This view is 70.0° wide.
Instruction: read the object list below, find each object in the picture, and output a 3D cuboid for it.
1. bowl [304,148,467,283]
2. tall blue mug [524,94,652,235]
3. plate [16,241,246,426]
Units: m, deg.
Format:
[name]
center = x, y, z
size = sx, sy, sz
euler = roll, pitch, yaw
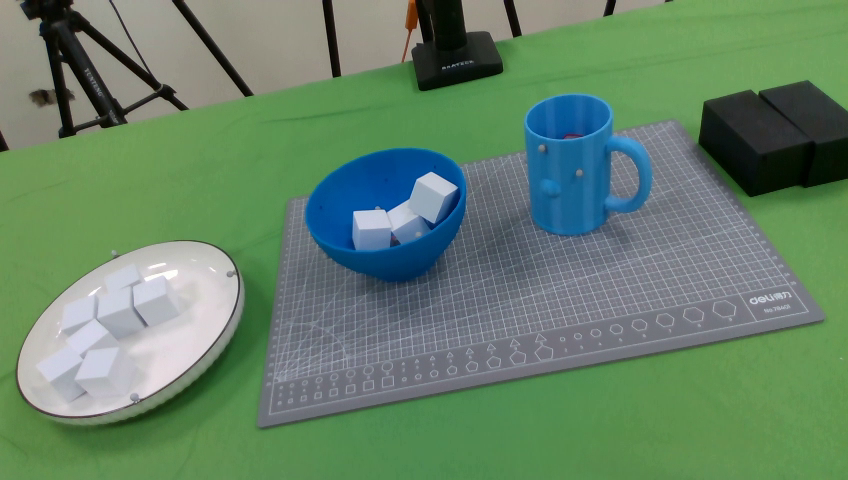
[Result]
[bowl]
center = -0.029, -0.012, 0.572
size = 0.151, 0.077, 0.150
euler = -8, 42, 7
[tall blue mug]
center = 0.151, -0.069, 0.561
size = 0.107, 0.109, 0.077
euler = -4, 42, 12
[plate]
center = -0.265, 0.084, 0.566
size = 0.209, 0.038, 0.207
euler = -7, 42, 7
